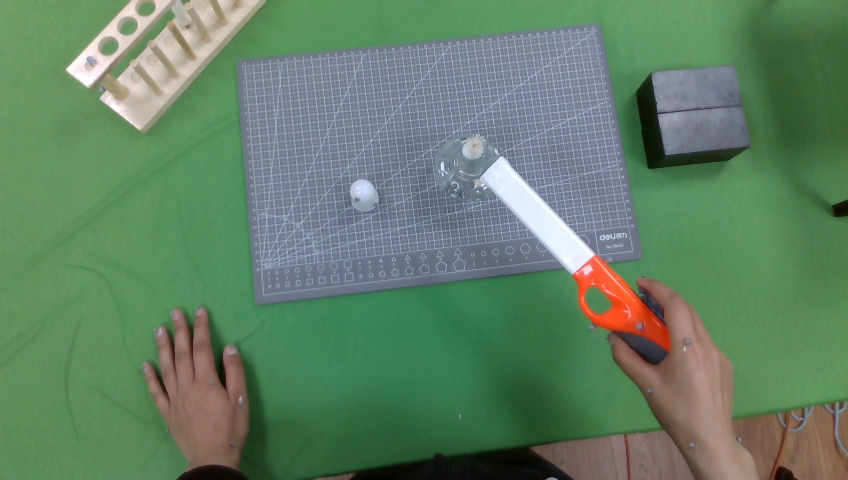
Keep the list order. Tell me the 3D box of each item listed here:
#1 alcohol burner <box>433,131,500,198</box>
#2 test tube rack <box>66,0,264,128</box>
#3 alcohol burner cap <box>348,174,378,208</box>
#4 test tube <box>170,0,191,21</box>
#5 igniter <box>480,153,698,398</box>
[{"bbox_3d":[0.049,-0.088,0.664,0.078,0.119,0.077,1,78,-2],"label":"alcohol burner"},{"bbox_3d":[-0.282,-0.252,0.698,0.066,0.085,0.242,38,81,5],"label":"test tube rack"},{"bbox_3d":[-0.071,-0.057,0.691,0.034,0.048,0.033,0,79,0],"label":"alcohol burner cap"},{"bbox_3d":[-0.284,-0.287,0.655,0.017,0.151,0.017,0,75,0],"label":"test tube"},{"bbox_3d":[0.153,0.030,0.562,0.057,0.025,0.275,-44,81,19],"label":"igniter"}]
